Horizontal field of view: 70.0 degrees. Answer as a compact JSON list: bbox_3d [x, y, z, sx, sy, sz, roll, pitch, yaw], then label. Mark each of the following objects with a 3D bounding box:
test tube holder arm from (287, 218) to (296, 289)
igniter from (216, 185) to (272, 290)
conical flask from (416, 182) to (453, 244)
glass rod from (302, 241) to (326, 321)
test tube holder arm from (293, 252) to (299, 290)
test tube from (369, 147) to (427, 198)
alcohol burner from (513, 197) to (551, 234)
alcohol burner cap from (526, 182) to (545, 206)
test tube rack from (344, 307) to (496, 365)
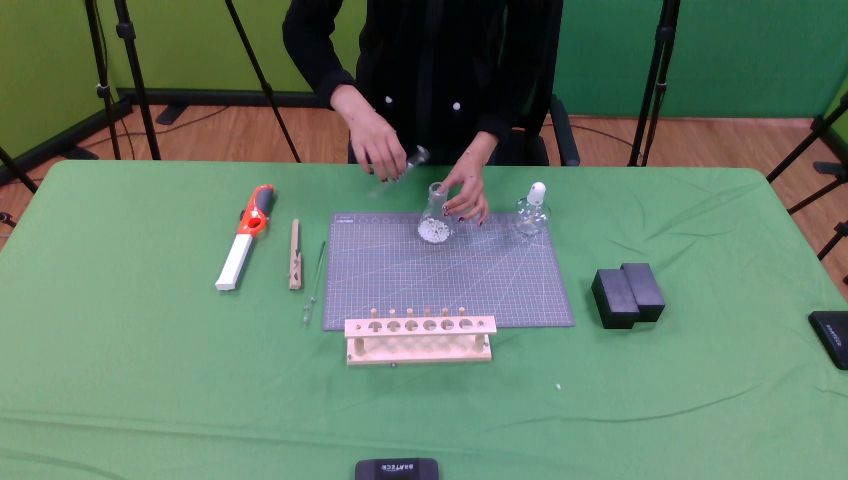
[{"bbox_3d":[-0.253,0.022,1.158,0.013,0.015,0.177,24,35,-34],"label":"test tube holder arm"},{"bbox_3d":[-0.347,-0.014,1.182,0.057,0.025,0.275,-1,45,8],"label":"igniter"},{"bbox_3d":[0.023,-0.056,1.183,0.075,0.122,0.075,2,46,-2],"label":"conical flask"},{"bbox_3d":[-0.203,0.071,1.124,0.008,0.008,0.198,5,43,1],"label":"glass rod"},{"bbox_3d":[-0.241,0.056,1.131,0.010,0.015,0.087,25,35,-33],"label":"test tube holder arm"},{"bbox_3d":[-0.049,-0.119,1.082,0.017,0.150,0.017,30,41,-30],"label":"test tube"},{"bbox_3d":[0.220,-0.069,1.216,0.078,0.119,0.077,3,47,-3],"label":"alcohol burner"},{"bbox_3d":[0.222,-0.092,1.189,0.034,0.048,0.033,2,54,-3],"label":"alcohol burner cap"},{"bbox_3d":[-0.009,0.154,1.007,0.242,0.085,0.066,-1,46,-5],"label":"test tube rack"}]
